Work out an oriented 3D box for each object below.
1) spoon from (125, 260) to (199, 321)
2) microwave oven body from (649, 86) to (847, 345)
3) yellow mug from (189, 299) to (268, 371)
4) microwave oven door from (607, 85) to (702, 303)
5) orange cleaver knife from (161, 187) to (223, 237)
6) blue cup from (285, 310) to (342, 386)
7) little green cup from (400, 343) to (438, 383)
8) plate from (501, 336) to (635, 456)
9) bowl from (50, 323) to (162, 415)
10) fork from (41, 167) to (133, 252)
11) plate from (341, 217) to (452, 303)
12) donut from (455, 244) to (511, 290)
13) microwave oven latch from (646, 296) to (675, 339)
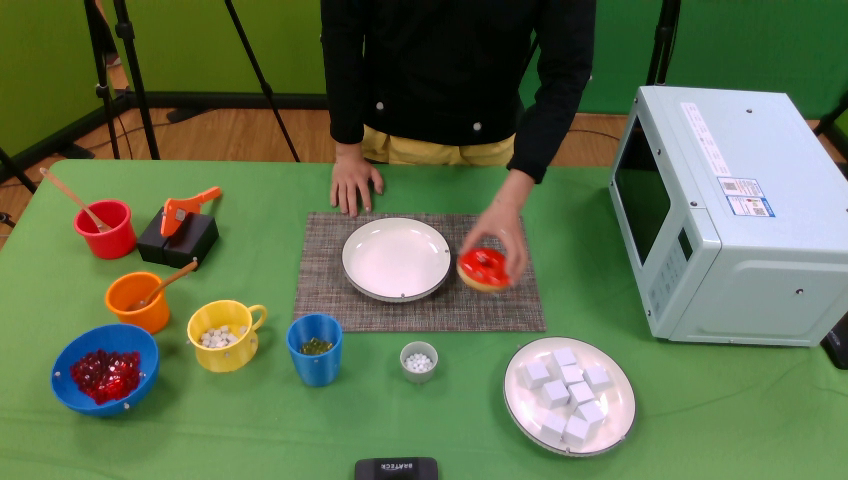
[{"bbox_3d":[-0.434,0.083,1.000,0.022,0.194,0.041,34,34,-35],"label":"spoon"},{"bbox_3d":[0.568,-0.053,1.118,0.326,0.261,0.439,2,45,-1],"label":"microwave oven body"},{"bbox_3d":[-0.316,0.148,1.002,0.131,0.064,0.099,-32,56,-31],"label":"yellow mug"},{"bbox_3d":[0.423,-0.094,1.140,0.039,0.245,0.353,2,46,-1],"label":"microwave oven door"},{"bbox_3d":[-0.448,-0.058,1.181,0.012,0.077,0.211,13,17,6],"label":"orange cleaver knife"},{"bbox_3d":[-0.170,0.179,0.958,0.093,0.101,0.092,2,44,-1],"label":"blue cup"},{"bbox_3d":[-0.010,0.202,0.991,0.061,0.039,0.061,2,47,-2],"label":"little green cup"},{"bbox_3d":[0.225,0.248,0.963,0.208,0.039,0.206,2,46,-2],"label":"plate"},{"bbox_3d":[-0.472,0.209,0.924,0.151,0.077,0.150,3,45,-2],"label":"bowl"},{"bbox_3d":[-0.624,-0.056,1.121,0.208,0.018,0.028,49,51,-15],"label":"fork"},{"bbox_3d":[-0.052,0.040,1.140,0.209,0.038,0.208,3,46,-2],"label":"plate"},{"bbox_3d":[0.102,0.047,1.044,0.099,0.048,0.098,7,38,-5],"label":"donut"},{"bbox_3d":[0.412,0.134,1.061,0.030,0.029,0.078,3,45,1],"label":"microwave oven latch"}]
